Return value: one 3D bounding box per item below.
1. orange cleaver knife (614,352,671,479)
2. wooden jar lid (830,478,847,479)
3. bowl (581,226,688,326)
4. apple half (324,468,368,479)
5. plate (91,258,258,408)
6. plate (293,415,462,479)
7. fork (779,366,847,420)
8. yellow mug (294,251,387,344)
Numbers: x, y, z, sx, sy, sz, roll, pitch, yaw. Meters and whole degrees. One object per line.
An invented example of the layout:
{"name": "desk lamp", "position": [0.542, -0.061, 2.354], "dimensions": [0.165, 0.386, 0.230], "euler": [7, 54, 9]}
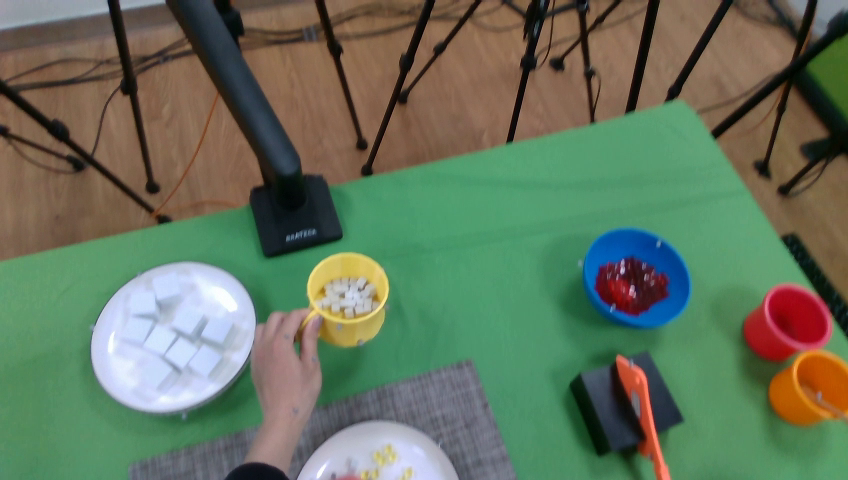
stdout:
{"name": "orange cleaver knife", "position": [0.282, 0.247, 0.772], "dimensions": [0.012, 0.077, 0.211], "euler": [-14, 87, -9]}
{"name": "wooden jar lid", "position": [0.462, 0.315, 0.653], "dimensions": [0.108, 0.021, 0.107], "euler": [1, 60, -2]}
{"name": "bowl", "position": [0.292, 0.063, 0.878], "dimensions": [0.151, 0.077, 0.150], "euler": [2, 61, -4]}
{"name": "apple half", "position": [-0.093, 0.307, 0.704], "dimensions": [0.075, 0.054, 0.080], "euler": [-18, 64, -12]}
{"name": "plate", "position": [-0.325, 0.123, 0.805], "dimensions": [0.208, 0.039, 0.206], "euler": [3, 60, -4]}
{"name": "plate", "position": [-0.056, 0.316, 0.720], "dimensions": [0.209, 0.038, 0.207], "euler": [3, 61, -5]}
{"name": "fork", "position": [0.527, 0.218, 0.774], "dimensions": [0.028, 0.019, 0.206], "euler": [0, 17, -6]}
{"name": "yellow mug", "position": [-0.110, 0.081, 0.758], "dimensions": [0.099, 0.064, 0.131], "euler": [41, 59, 18]}
